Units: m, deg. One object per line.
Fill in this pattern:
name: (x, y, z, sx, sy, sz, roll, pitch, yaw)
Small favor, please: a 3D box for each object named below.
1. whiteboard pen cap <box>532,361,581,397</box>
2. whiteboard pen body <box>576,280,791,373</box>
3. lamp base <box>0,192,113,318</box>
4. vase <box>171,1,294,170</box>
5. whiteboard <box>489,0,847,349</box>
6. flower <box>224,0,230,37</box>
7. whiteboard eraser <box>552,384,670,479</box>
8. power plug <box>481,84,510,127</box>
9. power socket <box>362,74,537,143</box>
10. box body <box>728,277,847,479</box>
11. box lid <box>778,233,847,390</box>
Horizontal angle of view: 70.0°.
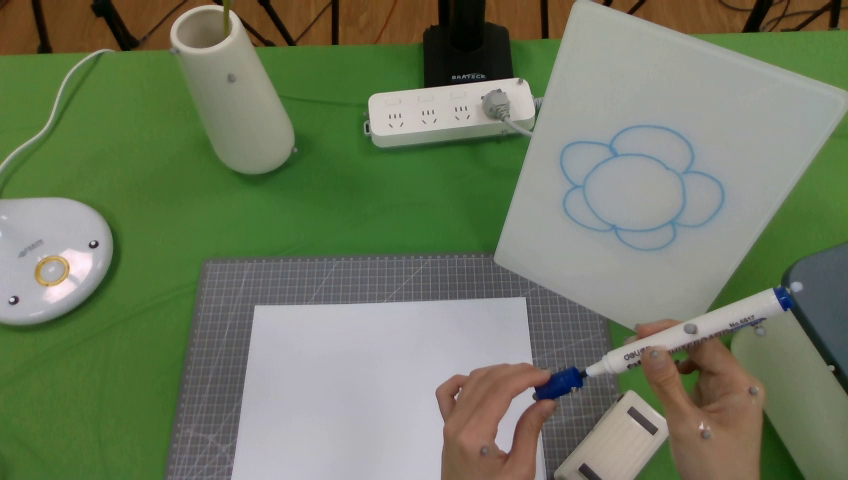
whiteboard pen cap: (0.095, 0.099, 0.428, 0.033, 0.018, 0.018, -28, 59, 24)
whiteboard pen body: (0.157, 0.059, 0.383, 0.140, 0.017, 0.017, -31, 56, 31)
lamp base: (-0.451, -0.028, 0.628, 0.178, 0.182, 0.160, 28, 66, 19)
vase: (-0.214, -0.167, 0.686, 0.098, 0.201, 0.097, -1, 61, 2)
whiteboard: (0.224, -0.077, 0.602, 0.216, 0.308, 0.143, 27, 45, 16)
flower: (-0.197, -0.199, 0.610, 0.038, 0.362, 0.044, 46, 62, 4)
whiteboard eraser: (0.175, 0.193, 0.570, 0.112, 0.042, 0.055, -42, 68, -18)
power plug: (0.087, -0.158, 0.743, 0.035, 0.053, 0.072, 3, 68, 3)
power socket: (0.033, -0.169, 0.775, 0.227, 0.033, 0.071, -6, 63, -2)
box body: (0.472, 0.168, 0.511, 0.254, 0.161, 0.360, -18, 63, -8)
box lid: (0.470, 0.130, 0.446, 0.263, 0.015, 0.368, -18, 63, -7)
